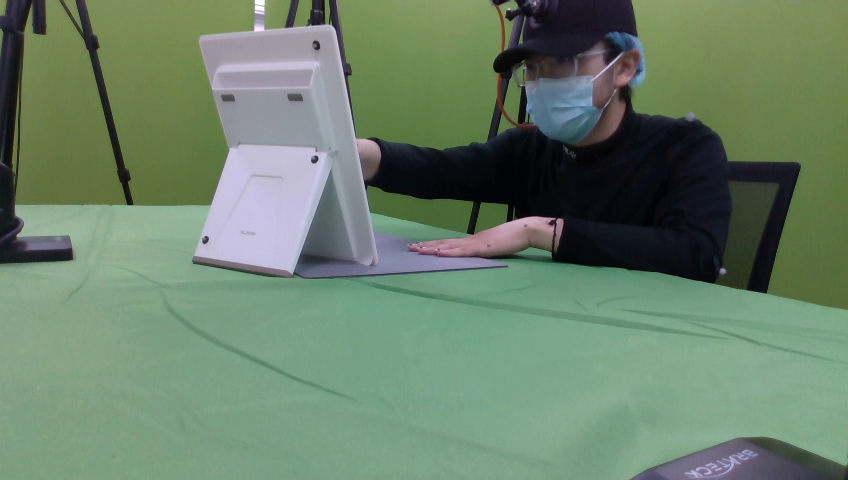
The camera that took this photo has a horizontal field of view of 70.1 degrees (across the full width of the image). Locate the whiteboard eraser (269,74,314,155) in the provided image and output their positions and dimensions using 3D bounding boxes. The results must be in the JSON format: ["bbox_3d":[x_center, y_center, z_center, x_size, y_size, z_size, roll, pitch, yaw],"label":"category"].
[{"bbox_3d":[-0.176,-0.161,0.798,0.055,0.112,0.042,41,63,14],"label":"whiteboard eraser"}]

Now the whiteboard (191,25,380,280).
[{"bbox_3d":[-0.206,-0.085,0.733,0.216,0.305,0.144,7,30,30],"label":"whiteboard"}]
